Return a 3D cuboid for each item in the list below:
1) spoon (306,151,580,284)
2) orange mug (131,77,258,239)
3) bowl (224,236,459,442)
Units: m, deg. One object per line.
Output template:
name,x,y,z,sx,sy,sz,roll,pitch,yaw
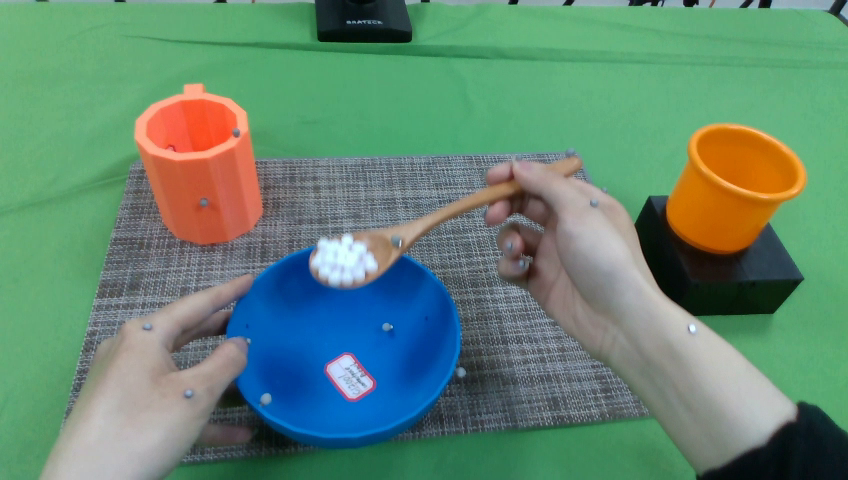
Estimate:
spoon,0.017,-0.018,0.392,0.194,0.022,0.041,-25,48,-5
orange mug,-0.195,-0.079,0.523,0.084,0.101,0.125,-9,55,-14
bowl,-0.054,0.078,0.419,0.151,0.077,0.150,4,48,-4
